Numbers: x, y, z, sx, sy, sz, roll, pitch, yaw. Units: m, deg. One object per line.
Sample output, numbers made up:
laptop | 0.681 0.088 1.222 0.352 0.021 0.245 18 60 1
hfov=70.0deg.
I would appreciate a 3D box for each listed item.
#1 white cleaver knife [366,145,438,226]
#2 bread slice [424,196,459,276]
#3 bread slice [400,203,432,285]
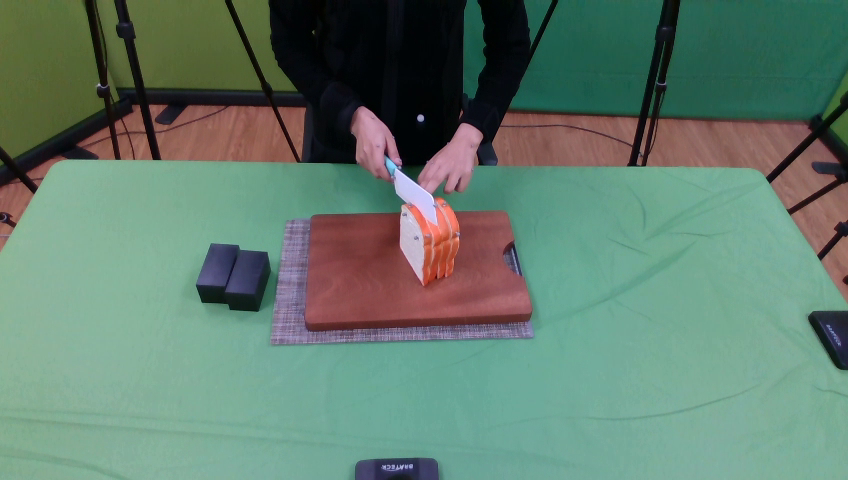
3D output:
white cleaver knife | -0.046 -0.102 1.085 0.021 0.066 0.284 -16 33 -21
bread slice | 0.030 -0.012 1.098 0.019 0.132 0.104 -15 51 -24
bread slice | -0.016 -0.002 1.082 0.018 0.135 0.106 -21 47 -19
